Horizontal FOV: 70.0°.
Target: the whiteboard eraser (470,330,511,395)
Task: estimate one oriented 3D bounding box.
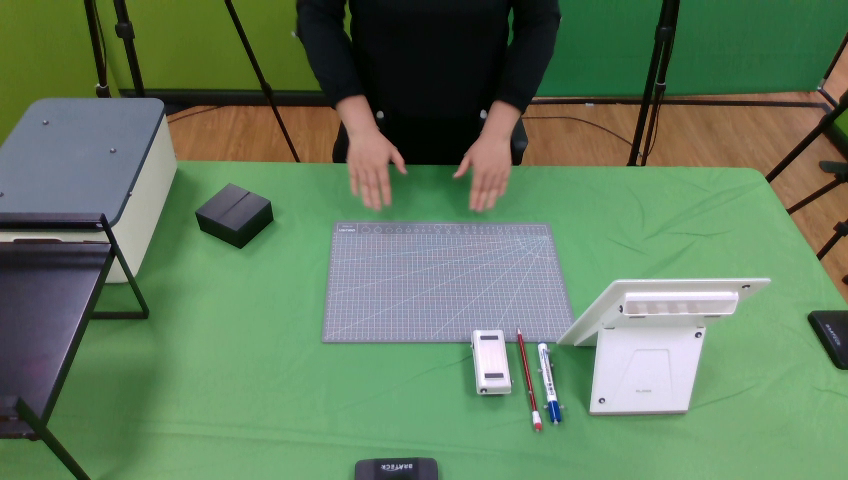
[{"bbox_3d":[0.109,0.202,0.998,0.055,0.042,0.112,1,46,-5],"label":"whiteboard eraser"}]

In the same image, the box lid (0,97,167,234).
[{"bbox_3d":[-0.636,-0.145,1.086,0.263,0.015,0.369,0,46,-4],"label":"box lid"}]

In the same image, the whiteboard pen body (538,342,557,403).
[{"bbox_3d":[0.205,0.228,0.997,0.017,0.017,0.140,1,46,-3],"label":"whiteboard pen body"}]

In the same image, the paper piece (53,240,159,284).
[{"bbox_3d":[-0.593,0.037,1.134,0.136,0.009,0.137,3,32,8],"label":"paper piece"}]

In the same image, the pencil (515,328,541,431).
[{"bbox_3d":[0.169,0.224,1.002,0.012,0.012,0.192,-2,46,-6],"label":"pencil"}]

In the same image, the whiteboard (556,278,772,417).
[{"bbox_3d":[0.347,0.174,0.903,0.217,0.306,0.143,1,65,-4],"label":"whiteboard"}]

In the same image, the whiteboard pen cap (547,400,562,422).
[{"bbox_3d":[0.205,0.269,0.956,0.018,0.018,0.033,0,47,-5],"label":"whiteboard pen cap"}]

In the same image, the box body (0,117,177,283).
[{"bbox_3d":[-0.640,-0.095,1.140,0.254,0.161,0.361,0,46,-4],"label":"box body"}]
